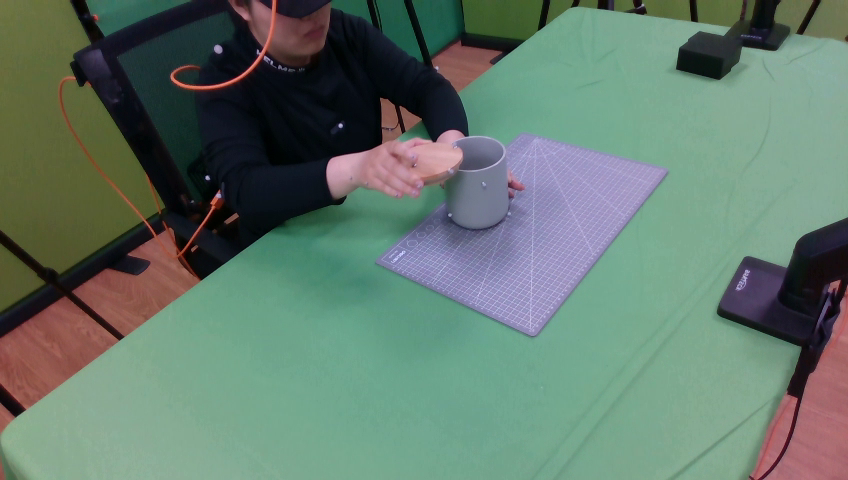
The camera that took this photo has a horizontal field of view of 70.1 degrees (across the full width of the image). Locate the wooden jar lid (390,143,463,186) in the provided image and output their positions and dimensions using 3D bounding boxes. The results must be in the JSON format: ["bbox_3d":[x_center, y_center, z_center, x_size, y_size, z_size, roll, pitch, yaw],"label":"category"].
[{"bbox_3d":[0.005,-0.109,0.881,0.108,0.021,0.108,-8,33,6],"label":"wooden jar lid"}]

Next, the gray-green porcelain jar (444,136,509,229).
[{"bbox_3d":[0.086,-0.089,0.988,0.106,0.127,0.105,-5,40,5],"label":"gray-green porcelain jar"}]
